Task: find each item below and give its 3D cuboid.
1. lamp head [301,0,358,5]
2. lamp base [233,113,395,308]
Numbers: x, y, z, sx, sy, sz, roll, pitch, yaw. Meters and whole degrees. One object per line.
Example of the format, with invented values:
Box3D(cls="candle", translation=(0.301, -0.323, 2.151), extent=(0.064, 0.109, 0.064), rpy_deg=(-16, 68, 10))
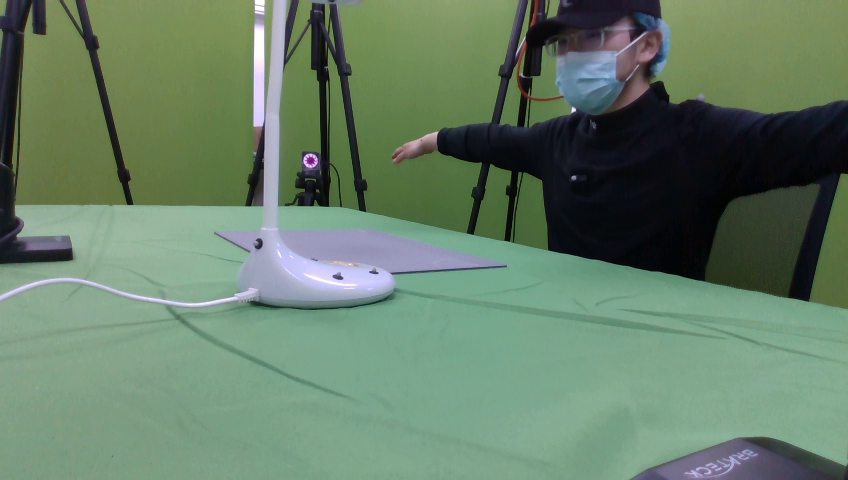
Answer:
Box3D(cls="lamp head", translation=(-0.095, -0.314, 0.610), extent=(0.112, 0.123, 0.112), rpy_deg=(-4, 50, 5))
Box3D(cls="lamp base", translation=(-0.113, -0.033, 0.600), extent=(0.160, 0.180, 0.180), rpy_deg=(6, 11, 28))
